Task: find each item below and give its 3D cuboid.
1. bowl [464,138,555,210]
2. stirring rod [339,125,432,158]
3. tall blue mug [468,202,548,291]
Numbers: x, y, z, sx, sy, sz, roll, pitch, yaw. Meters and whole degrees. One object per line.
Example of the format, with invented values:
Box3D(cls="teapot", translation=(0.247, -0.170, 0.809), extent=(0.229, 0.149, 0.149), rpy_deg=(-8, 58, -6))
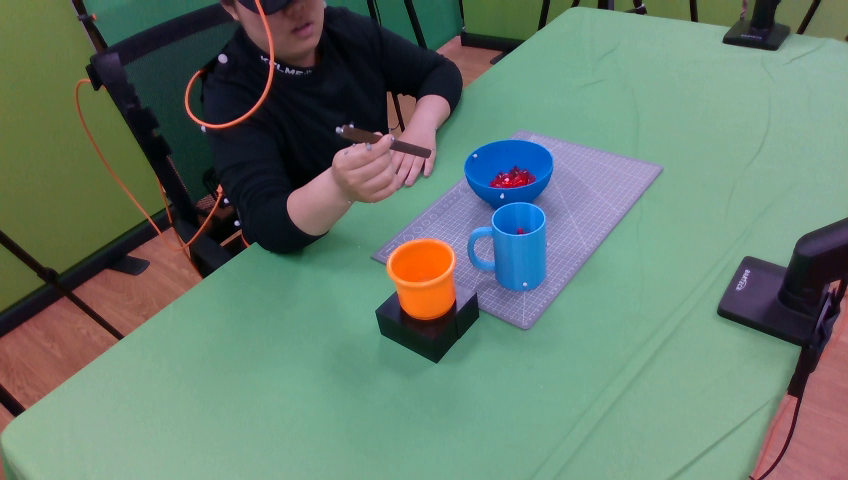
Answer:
Box3D(cls="bowl", translation=(0.145, -0.100, 1.025), extent=(0.151, 0.077, 0.150), rpy_deg=(-5, 40, 5))
Box3D(cls="stirring rod", translation=(-0.042, -0.121, 0.752), extent=(0.005, 0.014, 0.177), rpy_deg=(27, 14, 32))
Box3D(cls="tall blue mug", translation=(0.125, 0.015, 0.869), extent=(0.107, 0.108, 0.077), rpy_deg=(-21, 42, -13))
